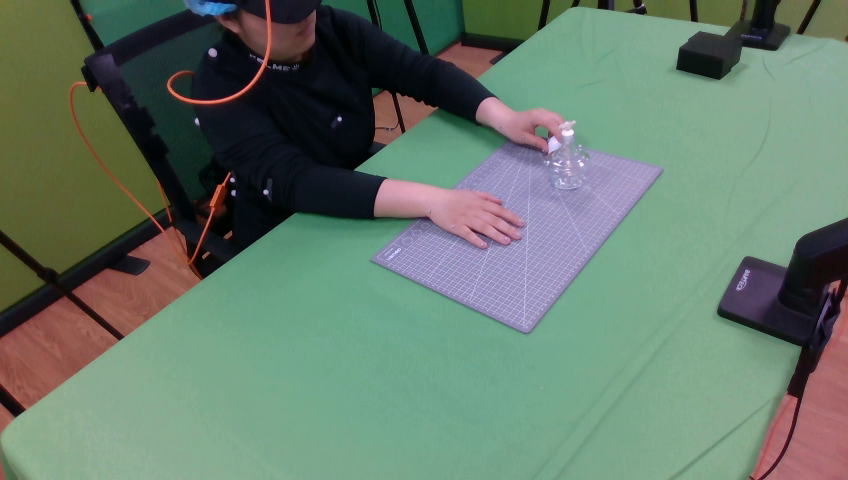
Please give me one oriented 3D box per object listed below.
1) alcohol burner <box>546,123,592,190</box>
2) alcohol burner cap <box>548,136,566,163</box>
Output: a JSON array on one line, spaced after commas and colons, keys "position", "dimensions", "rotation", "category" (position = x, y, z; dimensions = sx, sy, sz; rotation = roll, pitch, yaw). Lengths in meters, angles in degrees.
[{"position": [0.247, -0.146, 1.034], "dimensions": [0.078, 0.120, 0.077], "rotation": [-7, 41, 6], "category": "alcohol burner"}, {"position": [0.245, -0.169, 1.118], "dimensions": [0.034, 0.048, 0.033], "rotation": [-7, 40, 6], "category": "alcohol burner cap"}]
